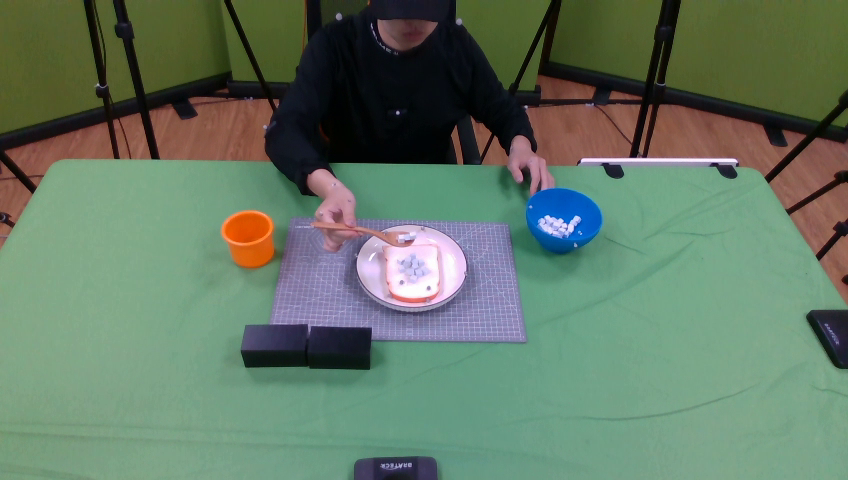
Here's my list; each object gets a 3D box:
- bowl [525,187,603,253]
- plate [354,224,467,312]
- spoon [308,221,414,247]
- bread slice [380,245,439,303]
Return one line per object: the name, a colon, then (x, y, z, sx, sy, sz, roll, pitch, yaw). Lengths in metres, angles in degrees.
bowl: (0.271, -0.028, 1.206, 0.151, 0.077, 0.150, 2, 46, -2)
plate: (-0.025, 0.055, 1.128, 0.209, 0.038, 0.208, 3, 46, -2)
spoon: (-0.107, -0.015, 1.057, 0.194, 0.022, 0.041, 12, 41, -27)
bread slice: (-0.022, 0.061, 1.126, 0.107, 0.018, 0.133, -3, 45, -8)
